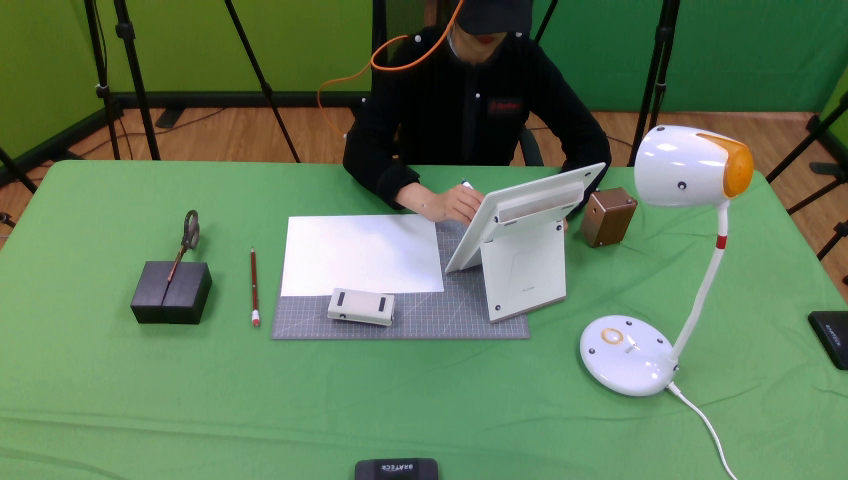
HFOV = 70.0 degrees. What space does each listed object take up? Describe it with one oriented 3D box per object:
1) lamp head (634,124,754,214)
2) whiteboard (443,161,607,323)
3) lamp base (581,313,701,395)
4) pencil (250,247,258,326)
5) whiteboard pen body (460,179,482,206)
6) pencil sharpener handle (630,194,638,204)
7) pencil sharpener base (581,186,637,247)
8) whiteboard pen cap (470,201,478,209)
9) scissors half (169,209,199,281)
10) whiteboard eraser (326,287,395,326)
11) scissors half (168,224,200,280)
[{"bbox_3d":[0.351,-0.089,0.776,0.112,0.113,0.122,-30,30,-28],"label":"lamp head"},{"bbox_3d":[0.185,0.025,1.029,0.217,0.306,0.143,-15,68,-18],"label":"whiteboard"},{"bbox_3d":[0.361,0.144,0.973,0.178,0.181,0.160,34,53,23],"label":"lamp base"},{"bbox_3d":[-0.312,0.079,1.107,0.012,0.012,0.192,-7,46,-11],"label":"pencil"},{"bbox_3d":[0.111,-0.061,1.124,0.017,0.017,0.140,-24,63,-24],"label":"whiteboard pen body"},{"bbox_3d":[0.417,-0.068,1.215,0.031,0.068,0.036,-11,60,-14],"label":"pencil sharpener handle"},{"bbox_3d":[0.369,-0.047,1.209,0.077,0.107,0.061,-11,47,-15],"label":"pencil sharpener base"},{"bbox_3d":[0.113,-0.073,1.279,0.033,0.018,0.018,4,46,6],"label":"whiteboard pen cap"},{"bbox_3d":[-0.438,0.007,1.098,0.013,0.040,0.174,3,48,-3],"label":"scissors half"},{"bbox_3d":[-0.110,0.118,1.057,0.113,0.042,0.055,7,45,2],"label":"whiteboard eraser"},{"bbox_3d":[-0.440,0.023,1.111,0.013,0.040,0.174,7,29,-6],"label":"scissors half"}]
